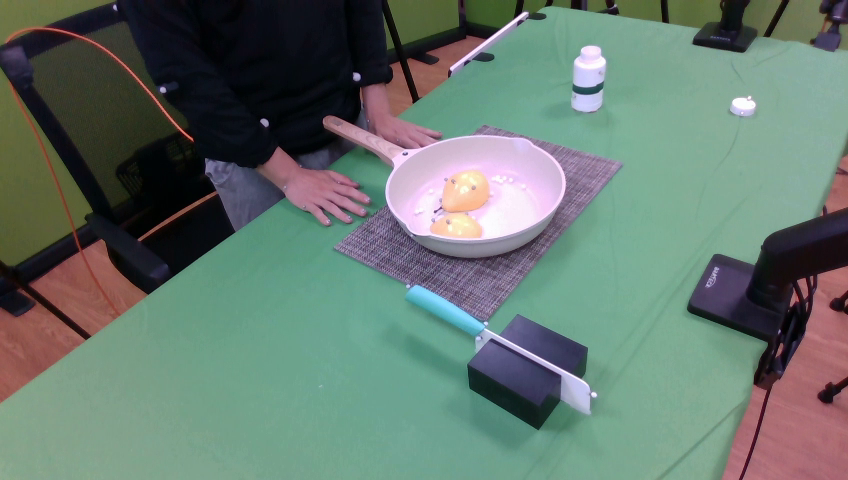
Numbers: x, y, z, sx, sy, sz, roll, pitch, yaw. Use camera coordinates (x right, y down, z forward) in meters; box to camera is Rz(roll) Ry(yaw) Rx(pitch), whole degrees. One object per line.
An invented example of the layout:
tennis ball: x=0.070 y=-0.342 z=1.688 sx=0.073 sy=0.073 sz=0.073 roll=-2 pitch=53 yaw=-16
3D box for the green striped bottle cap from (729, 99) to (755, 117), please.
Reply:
green striped bottle cap: x=0.623 y=-0.259 z=1.182 sx=0.044 sy=0.020 sz=0.044 roll=-3 pitch=40 yaw=3

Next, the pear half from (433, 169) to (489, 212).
pear half: x=0.057 y=-0.083 z=1.024 sx=0.110 sy=0.056 sz=0.075 roll=-33 pitch=42 yaw=-25

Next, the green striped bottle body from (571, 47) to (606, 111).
green striped bottle body: x=0.333 y=-0.327 z=1.224 sx=0.063 sy=0.120 sz=0.063 roll=-4 pitch=41 yaw=4

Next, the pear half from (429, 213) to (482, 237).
pear half: x=0.050 y=-0.024 z=0.973 sx=0.087 sy=0.031 sz=0.070 roll=14 pitch=40 yaw=18

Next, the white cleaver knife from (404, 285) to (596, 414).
white cleaver knife: x=0.084 y=0.135 z=0.764 sx=0.284 sy=0.066 sz=0.021 roll=27 pitch=46 yaw=31

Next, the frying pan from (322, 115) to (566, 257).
frying pan: x=0.004 y=-0.121 z=1.039 sx=0.484 sy=0.103 sz=0.308 roll=31 pitch=52 yaw=25
